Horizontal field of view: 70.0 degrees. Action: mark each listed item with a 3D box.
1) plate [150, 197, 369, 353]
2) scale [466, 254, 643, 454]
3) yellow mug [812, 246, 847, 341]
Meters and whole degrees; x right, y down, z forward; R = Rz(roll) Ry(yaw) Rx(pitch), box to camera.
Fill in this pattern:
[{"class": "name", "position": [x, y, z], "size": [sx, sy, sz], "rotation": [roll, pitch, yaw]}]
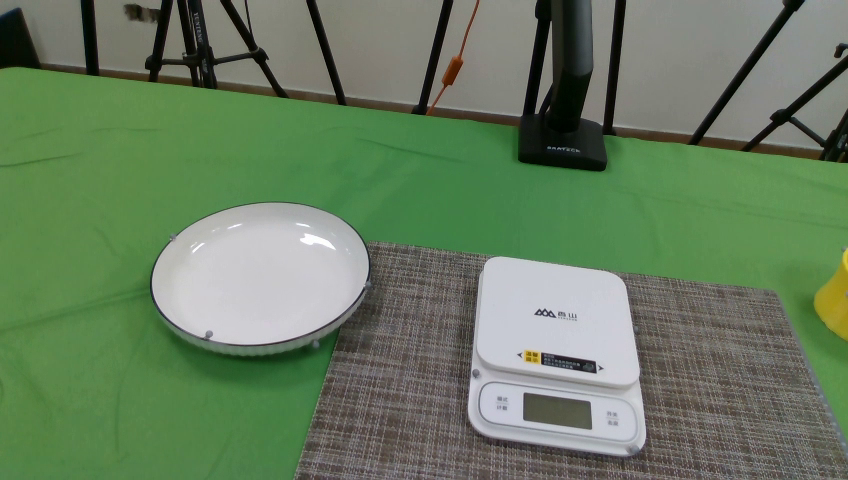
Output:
[{"class": "plate", "position": [-0.159, 0.033, 0.606], "size": [0.209, 0.038, 0.207], "rotation": [3, 41, -2]}, {"class": "scale", "position": [0.119, 0.095, 0.562], "size": [0.148, 0.032, 0.199], "rotation": [8, 41, 3]}, {"class": "yellow mug", "position": [0.476, 0.066, 0.612], "size": [0.100, 0.064, 0.129], "rotation": [-24, 49, -30]}]
